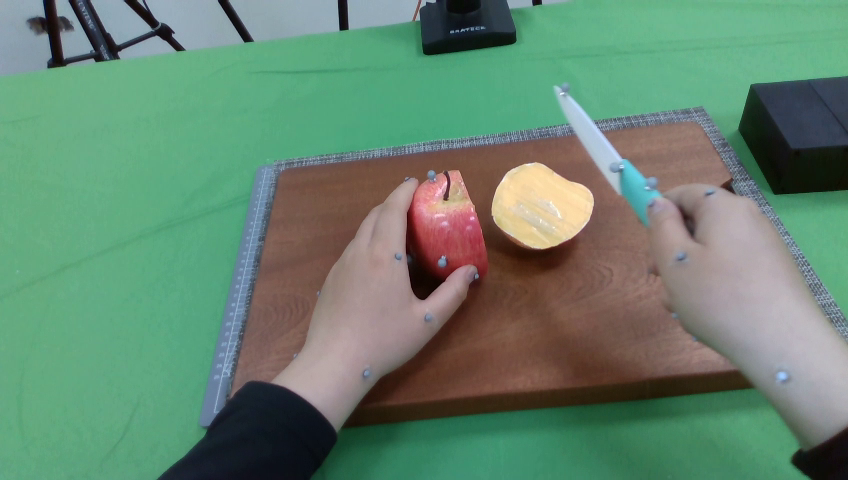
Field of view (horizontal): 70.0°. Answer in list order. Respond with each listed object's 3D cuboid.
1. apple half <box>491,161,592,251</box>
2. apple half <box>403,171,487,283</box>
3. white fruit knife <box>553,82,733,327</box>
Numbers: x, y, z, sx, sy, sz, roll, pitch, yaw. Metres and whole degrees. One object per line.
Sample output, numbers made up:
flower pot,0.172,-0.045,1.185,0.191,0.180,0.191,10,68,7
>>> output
apple half,0.090,-0.020,0.482,0.081,0.033,0.080,-2,61,4
apple half,0.012,-0.005,0.451,0.053,0.075,0.080,-16,49,-1
white fruit knife,0.126,-0.037,0.379,0.016,0.027,0.205,-13,52,-15
